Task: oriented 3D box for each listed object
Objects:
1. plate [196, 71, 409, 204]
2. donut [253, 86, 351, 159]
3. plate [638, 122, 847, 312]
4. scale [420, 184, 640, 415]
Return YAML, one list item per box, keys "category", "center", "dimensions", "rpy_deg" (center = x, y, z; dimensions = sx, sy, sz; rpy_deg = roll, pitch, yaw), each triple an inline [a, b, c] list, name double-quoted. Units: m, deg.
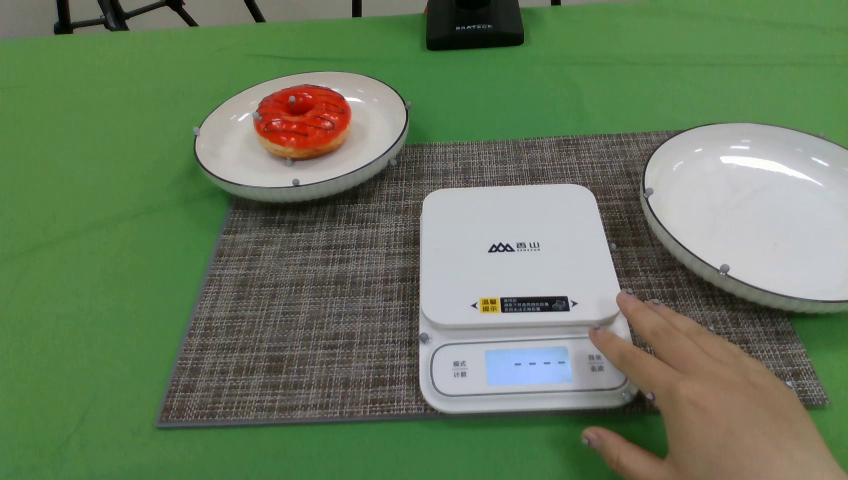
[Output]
- category: "plate"
  center: [-0.118, -0.102, 0.605]
  dimensions: [0.209, 0.038, 0.207]
  rpy_deg: [-3, 44, 3]
- category: "donut"
  center: [-0.120, -0.117, 0.606]
  dimensions: [0.099, 0.049, 0.098]
  rpy_deg: [-2, 44, 2]
- category: "plate"
  center: [0.278, -0.021, 0.492]
  dimensions: [0.208, 0.039, 0.205]
  rpy_deg: [-1, 46, 1]
- category: "scale"
  center: [0.071, 0.034, 0.460]
  dimensions: [0.148, 0.032, 0.199]
  rpy_deg: [-3, 47, 3]
